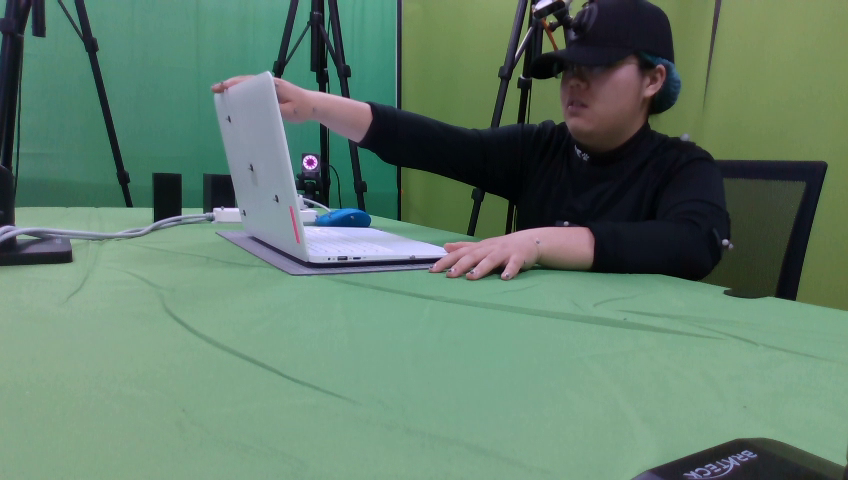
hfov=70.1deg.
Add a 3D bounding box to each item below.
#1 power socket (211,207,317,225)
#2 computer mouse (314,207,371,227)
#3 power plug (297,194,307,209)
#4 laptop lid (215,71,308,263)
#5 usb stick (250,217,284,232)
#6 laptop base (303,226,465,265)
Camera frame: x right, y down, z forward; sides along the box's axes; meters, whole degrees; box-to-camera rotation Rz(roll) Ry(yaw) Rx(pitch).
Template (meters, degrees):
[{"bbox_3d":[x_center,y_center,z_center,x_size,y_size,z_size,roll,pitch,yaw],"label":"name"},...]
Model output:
[{"bbox_3d":[-0.334,-0.051,1.282,0.228,0.032,0.072,-2,9,-28],"label":"power socket"},{"bbox_3d":[-0.175,-0.048,1.292,0.118,0.041,0.062,-8,12,-34],"label":"computer mouse"},{"bbox_3d":[-0.281,-0.076,1.340,0.035,0.052,0.072,3,6,-18],"label":"power plug"},{"bbox_3d":[-0.245,-0.105,0.870,0.013,0.241,0.355,-15,16,-27],"label":"laptop lid"},{"bbox_3d":[-0.291,-0.029,1.119,0.059,0.027,0.021,-2,9,-28],"label":"usb stick"},{"bbox_3d":[-0.124,0.007,0.955,0.237,0.023,0.352,2,6,-30],"label":"laptop base"}]
